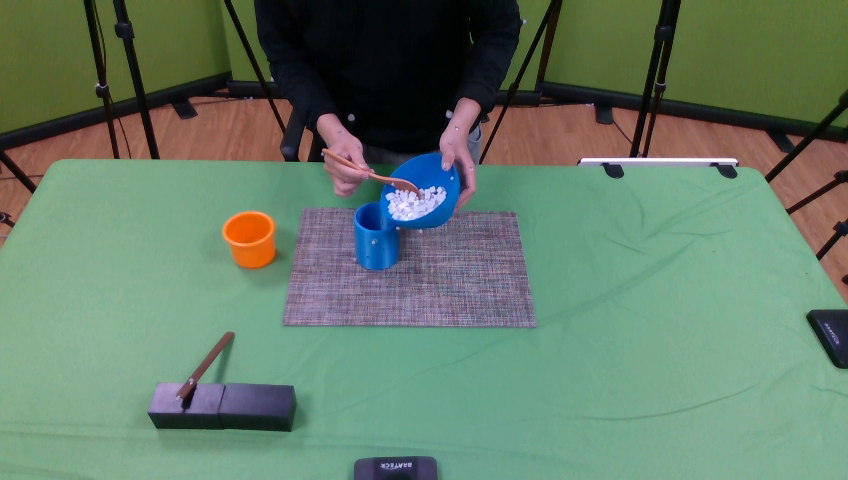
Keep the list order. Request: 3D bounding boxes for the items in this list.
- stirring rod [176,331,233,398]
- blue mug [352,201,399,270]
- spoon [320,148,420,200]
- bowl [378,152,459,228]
[{"bbox_3d":[-0.342,0.192,0.955,0.014,0.006,0.175,3,24,7],"label":"stirring rod"},{"bbox_3d":[-0.082,-0.017,1.144,0.082,0.106,0.116,30,51,22],"label":"blue mug"},{"bbox_3d":[-0.095,-0.119,1.077,0.194,0.041,0.021,22,66,-10],"label":"spoon"},{"bbox_3d":[0.002,-0.074,1.074,0.151,0.077,0.150,-16,50,21],"label":"bowl"}]
